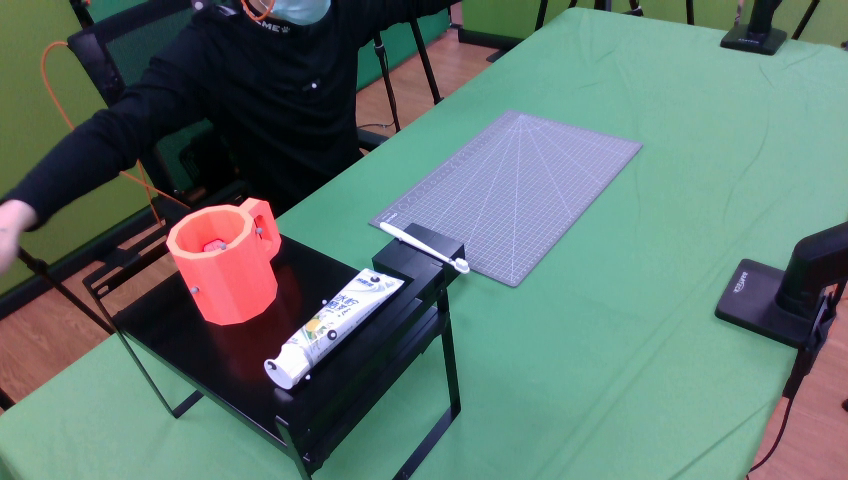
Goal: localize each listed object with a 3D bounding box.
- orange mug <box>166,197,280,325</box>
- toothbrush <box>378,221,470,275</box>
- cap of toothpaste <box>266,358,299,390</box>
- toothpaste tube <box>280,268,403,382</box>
[{"bbox_3d":[-0.203,0.014,0.650,0.083,0.101,0.126,12,48,22],"label":"orange mug"},{"bbox_3d":[-0.004,0.007,0.894,0.180,0.017,0.014,27,54,34],"label":"toothbrush"},{"bbox_3d":[-0.130,0.122,0.558,0.037,0.037,0.011,18,42,26],"label":"cap of toothpaste"},{"bbox_3d":[-0.087,0.081,0.609,0.054,0.034,0.165,21,43,24],"label":"toothpaste tube"}]
